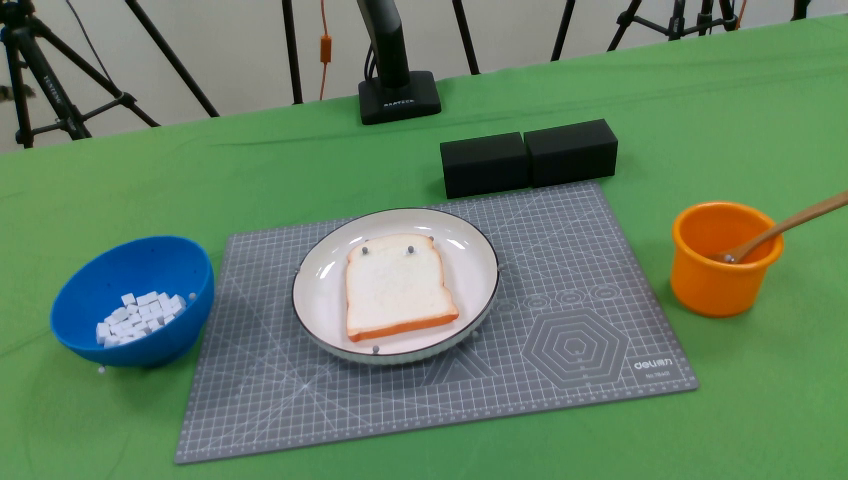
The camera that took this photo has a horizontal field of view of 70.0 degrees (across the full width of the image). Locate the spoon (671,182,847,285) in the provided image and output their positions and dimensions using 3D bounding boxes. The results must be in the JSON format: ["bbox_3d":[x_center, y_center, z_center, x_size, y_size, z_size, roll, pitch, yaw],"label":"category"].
[{"bbox_3d":[0.305,-0.010,0.530,0.022,0.194,0.041,32,43,-21],"label":"spoon"}]

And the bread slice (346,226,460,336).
[{"bbox_3d":[-0.031,0.038,0.619,0.107,0.018,0.133,-14,44,-4],"label":"bread slice"}]

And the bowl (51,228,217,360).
[{"bbox_3d":[-0.271,0.066,0.601,0.151,0.077,0.150,-5,43,5],"label":"bowl"}]

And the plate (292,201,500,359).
[{"bbox_3d":[-0.027,0.039,0.614,0.209,0.038,0.207,-5,43,5],"label":"plate"}]
